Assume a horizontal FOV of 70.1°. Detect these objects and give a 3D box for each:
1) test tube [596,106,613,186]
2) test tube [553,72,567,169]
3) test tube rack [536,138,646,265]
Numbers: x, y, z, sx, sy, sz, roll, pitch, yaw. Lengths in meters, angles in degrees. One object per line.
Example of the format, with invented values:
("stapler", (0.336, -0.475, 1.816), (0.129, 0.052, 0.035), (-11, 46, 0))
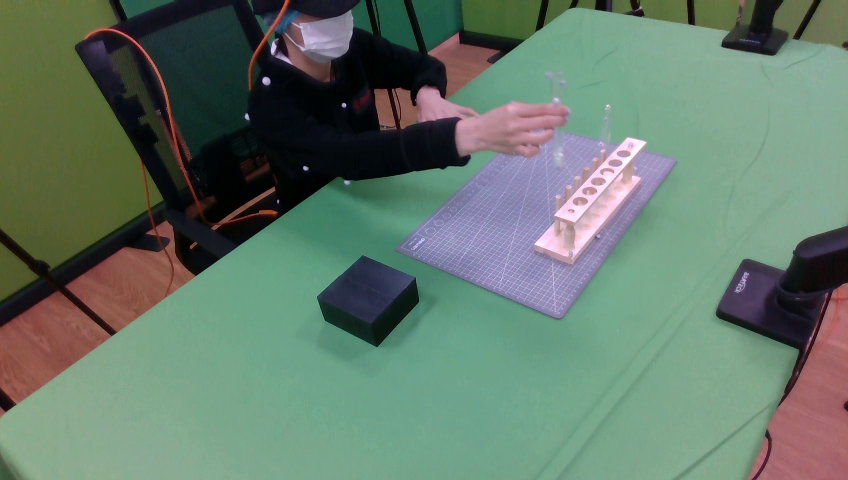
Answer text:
("test tube", (0.293, -0.150, 0.984), (0.017, 0.151, 0.017), (-5, 40, 4))
("test tube", (0.191, -0.163, 0.846), (0.017, 0.151, 0.017), (-8, 40, 7))
("test tube rack", (0.268, -0.071, 0.964), (0.066, 0.085, 0.243), (23, 49, 32))
